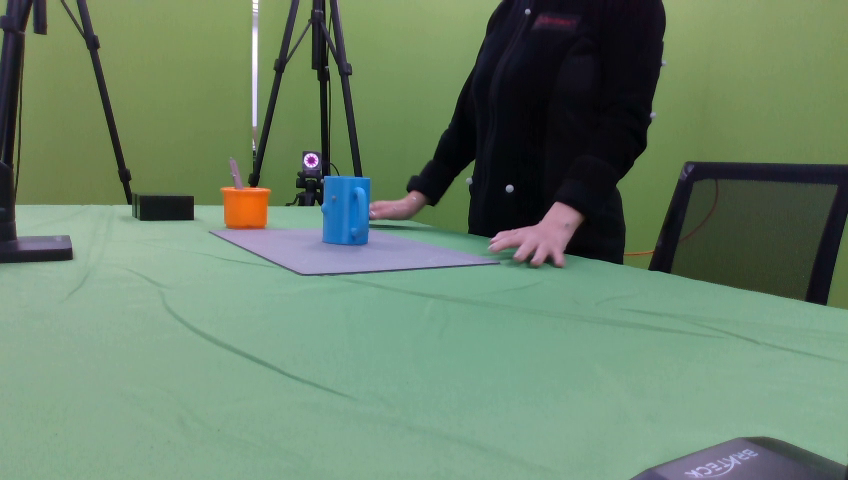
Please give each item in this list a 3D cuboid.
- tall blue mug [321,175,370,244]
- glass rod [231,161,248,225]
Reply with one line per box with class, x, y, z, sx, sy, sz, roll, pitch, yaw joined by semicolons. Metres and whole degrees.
tall blue mug;-0.116;-0.049;0.991;0.106;0.108;0.078;7;8;33
glass rod;-0.355;-0.093;1.161;0.008;0.008;0.199;-1;42;-26
